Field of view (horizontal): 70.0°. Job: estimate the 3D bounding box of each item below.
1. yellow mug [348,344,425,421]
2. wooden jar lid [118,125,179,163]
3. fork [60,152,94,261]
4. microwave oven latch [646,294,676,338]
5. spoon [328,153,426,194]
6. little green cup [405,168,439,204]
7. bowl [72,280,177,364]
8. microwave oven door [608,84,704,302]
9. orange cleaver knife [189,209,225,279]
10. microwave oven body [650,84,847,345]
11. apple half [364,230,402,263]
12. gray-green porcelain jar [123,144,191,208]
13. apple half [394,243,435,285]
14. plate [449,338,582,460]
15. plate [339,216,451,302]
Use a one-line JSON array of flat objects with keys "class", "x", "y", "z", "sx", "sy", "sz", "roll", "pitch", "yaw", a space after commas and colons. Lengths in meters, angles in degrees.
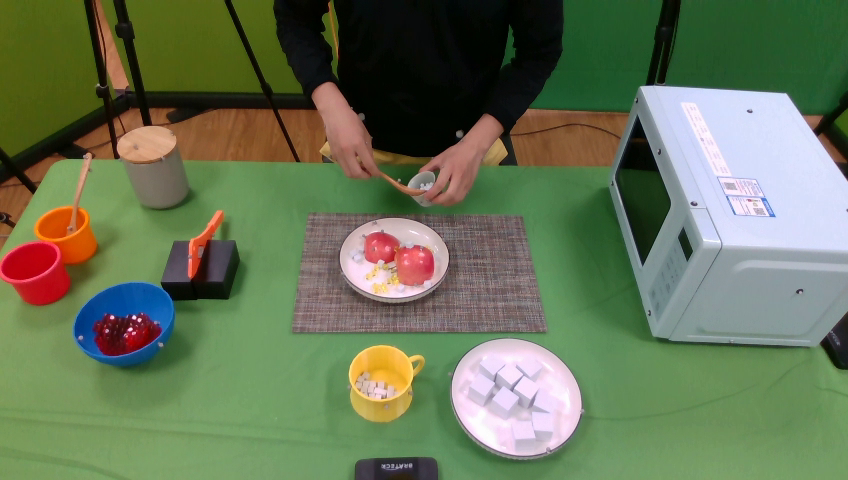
[{"class": "yellow mug", "x": -0.054, "y": 0.217, "z": 0.954, "sx": 0.131, "sy": 0.064, "sz": 0.099, "roll": -24, "pitch": 53, "yaw": -25}, {"class": "wooden jar lid", "x": -0.528, "y": -0.181, "z": 1.167, "sx": 0.108, "sy": 0.021, "sz": 0.107, "roll": 4, "pitch": 48, "yaw": -4}, {"class": "fork", "x": -0.638, "y": -0.063, "z": 1.119, "sx": 0.028, "sy": 0.018, "sz": 0.207, "roll": 12, "pitch": 90, "yaw": 8}, {"class": "microwave oven latch", "x": 0.412, "y": 0.133, "z": 1.060, "sx": 0.030, "sy": 0.029, "sz": 0.078, "roll": 3, "pitch": 46, "yaw": 0}, {"class": "spoon", "x": -0.085, "y": -0.124, "z": 1.115, "sx": 0.194, "sy": 0.021, "sz": 0.041, "roll": 25, "pitch": 17, "yaw": -2}, {"class": "little green cup", "x": -0.002, "y": -0.099, "z": 1.137, "sx": 0.061, "sy": 0.039, "sz": 0.061, "roll": -19, "pitch": 55, "yaw": 30}, {"class": "bowl", "x": -0.472, "y": 0.147, "z": 0.982, "sx": 0.151, "sy": 0.077, "sz": 0.150, "roll": 2, "pitch": 46, "yaw": -2}, {"class": "microwave oven door", "x": 0.424, "y": -0.096, "z": 1.138, "sx": 0.039, "sy": 0.245, "sz": 0.353, "roll": 3, "pitch": 46, "yaw": -1}, {"class": "orange cleaver knife", "x": -0.400, "y": 0.002, "z": 1.122, "sx": 0.012, "sy": 0.077, "sz": 0.210, "roll": 4, "pitch": 23, "yaw": -4}, {"class": "microwave oven body", "x": 0.569, "y": -0.054, "z": 1.116, "sx": 0.326, "sy": 0.261, "sz": 0.439, "roll": 2, "pitch": 46, "yaw": -1}, {"class": "apple half", "x": -0.079, "y": 0.004, "z": 1.160, "sx": 0.081, "sy": 0.033, "sz": 0.081, "roll": 3, "pitch": 50, "yaw": -3}, {"class": "gray-green porcelain jar", "x": -0.530, "y": -0.137, "z": 1.213, "sx": 0.106, "sy": 0.127, "sz": 0.105, "roll": 2, "pitch": 46, "yaw": -2}, {"class": "apple half", "x": -0.017, "y": 0.037, "z": 1.121, "sx": 0.075, "sy": 0.053, "sz": 0.080, "roll": 1, "pitch": 45, "yaw": -6}, {"class": "plate", "x": 0.141, "y": 0.251, "z": 0.956, "sx": 0.208, "sy": 0.039, "sz": 0.206, "roll": 2, "pitch": 47, "yaw": -2}, {"class": "plate", "x": -0.054, "y": 0.038, "z": 1.137, "sx": 0.209, "sy": 0.038, "sz": 0.208, "roll": 2, "pitch": 46, "yaw": -2}]
